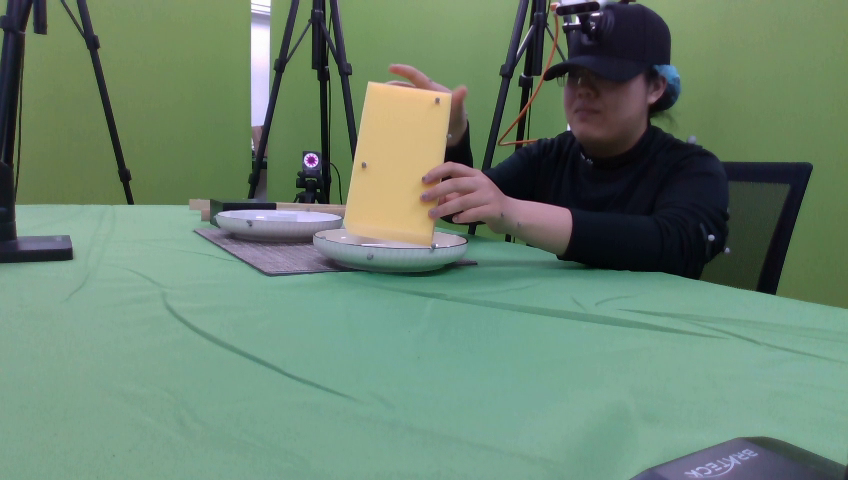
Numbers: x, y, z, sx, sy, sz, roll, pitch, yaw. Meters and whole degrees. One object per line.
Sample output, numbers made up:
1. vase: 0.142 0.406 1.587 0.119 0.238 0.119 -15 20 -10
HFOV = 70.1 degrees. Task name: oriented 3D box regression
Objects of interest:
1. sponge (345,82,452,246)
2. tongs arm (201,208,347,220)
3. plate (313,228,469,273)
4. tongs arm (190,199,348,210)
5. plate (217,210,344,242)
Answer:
1. sponge: -0.031 -0.104 0.824 0.118 0.206 0.061 7 -15 2
2. tongs arm: -0.302 -0.060 1.350 0.390 0.028 0.028 -3 7 -38
3. plate: -0.044 0.012 0.807 0.209 0.038 0.209 2 7 0
4. tongs arm: -0.341 -0.075 1.419 0.387 0.026 0.050 1 8 -25
5. plate: -0.241 -0.024 1.026 0.208 0.039 0.207 3 7 0
